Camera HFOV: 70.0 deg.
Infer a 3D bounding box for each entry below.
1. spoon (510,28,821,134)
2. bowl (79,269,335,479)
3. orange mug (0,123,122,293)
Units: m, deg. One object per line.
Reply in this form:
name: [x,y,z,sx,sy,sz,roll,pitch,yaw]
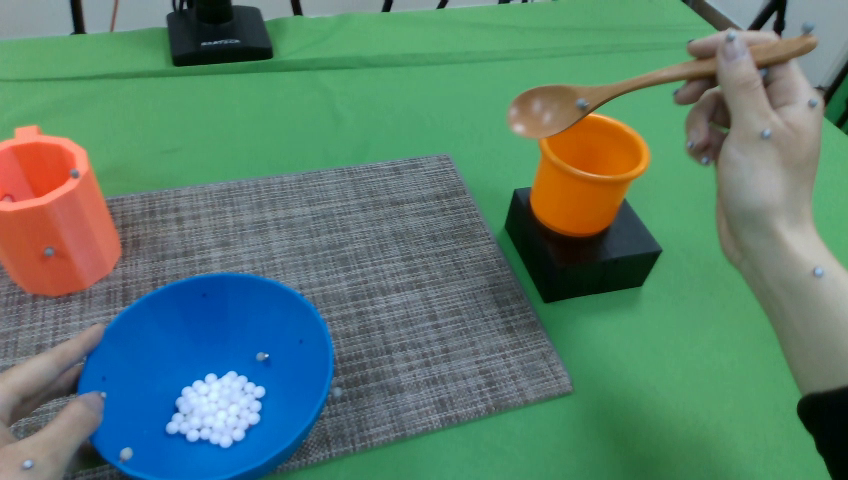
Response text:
spoon: [0.144,-0.104,0.394,0.193,0.022,0.041,-7,74,40]
bowl: [-0.134,0.101,0.403,0.151,0.077,0.150,4,47,-4]
orange mug: [-0.307,-0.033,0.490,0.084,0.101,0.125,-16,56,-21]
